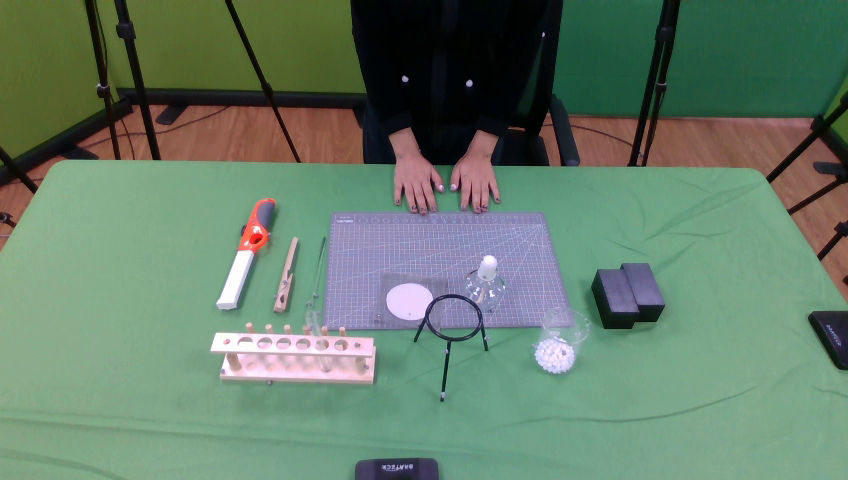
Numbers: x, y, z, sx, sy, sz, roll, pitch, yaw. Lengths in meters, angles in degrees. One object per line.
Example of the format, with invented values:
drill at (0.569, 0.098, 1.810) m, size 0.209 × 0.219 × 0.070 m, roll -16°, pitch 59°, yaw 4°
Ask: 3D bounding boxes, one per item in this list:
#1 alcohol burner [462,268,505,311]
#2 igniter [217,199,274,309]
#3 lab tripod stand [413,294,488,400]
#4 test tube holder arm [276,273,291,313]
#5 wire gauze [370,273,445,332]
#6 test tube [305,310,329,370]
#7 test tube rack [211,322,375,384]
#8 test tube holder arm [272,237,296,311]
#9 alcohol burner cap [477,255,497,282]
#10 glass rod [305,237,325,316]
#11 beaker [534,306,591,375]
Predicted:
alcohol burner at (0.108, 0.071, 1.073) m, size 0.078 × 0.119 × 0.077 m, roll 4°, pitch 45°, yaw -4°
igniter at (-0.336, 0.017, 1.153) m, size 0.057 × 0.025 × 0.275 m, roll -2°, pitch 45°, yaw 8°
lab tripod stand at (0.044, 0.159, 0.972) m, size 0.148 × 0.132 × 0.147 m, roll 3°, pitch 44°, yaw -2°
test tube holder arm at (-0.253, 0.093, 1.094) m, size 0.010 × 0.015 × 0.087 m, roll 26°, pitch 39°, yaw -25°
wire gauze at (-0.028, 0.108, 1.100) m, size 0.125 × 0.011 × 0.121 m, roll 7°, pitch 45°, yaw 4°
test tube at (-0.162, 0.156, 0.924) m, size 0.017 × 0.151 × 0.017 m, roll -1°, pitch 48°, yaw 1°
test tube rack at (-0.202, 0.176, 0.969) m, size 0.242 × 0.085 × 0.066 m, roll 3°, pitch 46°, yaw -2°
test tube holder arm at (-0.258, 0.060, 1.123) m, size 0.013 × 0.015 × 0.177 m, roll 27°, pitch 39°, yaw -24°
alcohol burner cap at (0.110, 0.047, 1.046) m, size 0.034 × 0.048 × 0.033 m, roll 2°, pitch 52°, yaw -2°
glass rod at (-0.202, 0.063, 1.132) m, size 0.008 × 0.008 × 0.198 m, roll 3°, pitch 44°, yaw 0°
beaker at (0.226, 0.168, 1.002) m, size 0.084 × 0.101 × 0.073 m, roll -5°, pitch 47°, yaw -10°
